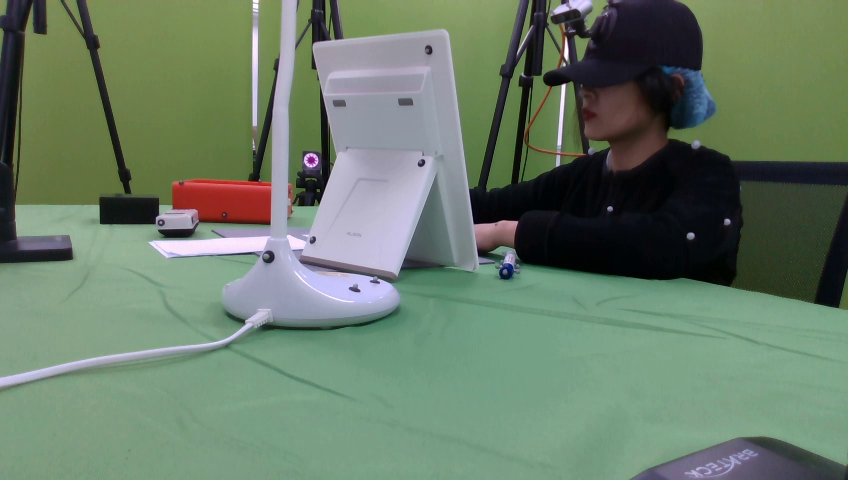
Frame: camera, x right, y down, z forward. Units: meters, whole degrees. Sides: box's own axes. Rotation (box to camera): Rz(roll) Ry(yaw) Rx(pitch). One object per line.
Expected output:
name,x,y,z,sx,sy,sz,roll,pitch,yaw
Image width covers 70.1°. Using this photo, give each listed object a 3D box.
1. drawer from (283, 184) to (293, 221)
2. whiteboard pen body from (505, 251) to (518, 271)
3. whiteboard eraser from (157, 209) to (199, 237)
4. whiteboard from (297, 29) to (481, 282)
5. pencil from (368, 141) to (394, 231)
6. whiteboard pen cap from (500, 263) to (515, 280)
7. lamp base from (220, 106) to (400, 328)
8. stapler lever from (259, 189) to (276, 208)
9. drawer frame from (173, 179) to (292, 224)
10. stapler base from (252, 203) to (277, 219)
drawer,-0.396,-0.085,1.301,0.212,0.073,0.194,1,8,-7
whiteboard pen body,0.117,0.031,0.815,0.017,0.017,0.141,4,7,10
whiteboard eraser,-0.411,-0.029,1.016,0.056,0.042,0.112,2,7,-16
whiteboard,-0.075,-0.082,0.741,0.216,0.305,0.144,9,29,37
pencil,-0.081,-0.102,1.125,0.012,0.194,0.012,10,-24,5
whiteboard pen cap,0.105,0.038,0.758,0.018,0.018,0.033,4,9,11
lamp base,-0.101,-0.023,0.531,0.160,0.180,0.179,4,10,10
stapler lever,-0.335,-0.090,1.300,0.027,0.040,0.118,15,4,-10
drawer frame,-0.400,-0.086,1.300,0.214,0.082,0.201,1,8,-8
stapler base,-0.341,-0.065,1.301,0.041,0.024,0.130,15,5,-10
